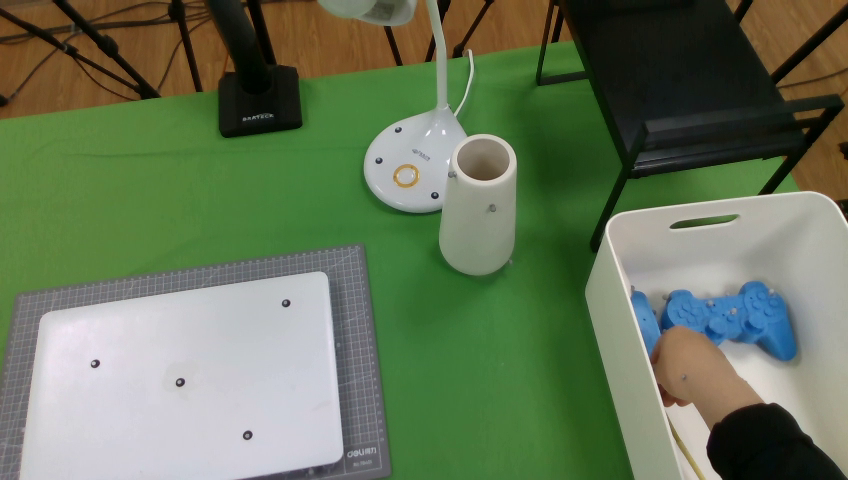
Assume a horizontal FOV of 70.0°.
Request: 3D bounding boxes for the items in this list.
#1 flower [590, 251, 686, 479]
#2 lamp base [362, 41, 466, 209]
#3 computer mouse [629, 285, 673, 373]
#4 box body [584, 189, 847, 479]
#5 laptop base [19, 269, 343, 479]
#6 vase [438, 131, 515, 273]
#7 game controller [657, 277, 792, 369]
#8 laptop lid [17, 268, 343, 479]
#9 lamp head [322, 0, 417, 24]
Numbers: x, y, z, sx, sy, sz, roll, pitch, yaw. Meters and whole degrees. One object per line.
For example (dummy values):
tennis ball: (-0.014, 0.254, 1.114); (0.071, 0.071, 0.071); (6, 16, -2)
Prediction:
flower: (0.253, 0.180, 0.662); (0.038, 0.044, 0.359); (-24, 68, 28)
lamp base: (-0.004, -0.160, 0.796); (0.160, 0.182, 0.178); (22, 61, 12)
computer mouse: (0.248, 0.103, 0.721); (0.063, 0.041, 0.116); (-10, 53, -2)
box body: (0.335, 0.148, 0.633); (0.254, 0.161, 0.360); (-7, 61, -2)
laptop base: (-0.280, 0.165, 0.713); (0.355, 0.023, 0.233); (-8, 65, -4)
vase: (0.063, -0.041, 0.719); (0.098, 0.201, 0.097); (-1, 60, 2)
game controller: (0.357, 0.096, 0.722); (0.155, 0.052, 0.096); (-6, 60, -4)
laptop lid: (-0.279, 0.162, 0.702); (0.357, 0.013, 0.239); (-7, 64, -3)
lamp head: (-0.042, -0.261, 0.510); (0.112, 0.113, 0.122); (19, 81, 11)
